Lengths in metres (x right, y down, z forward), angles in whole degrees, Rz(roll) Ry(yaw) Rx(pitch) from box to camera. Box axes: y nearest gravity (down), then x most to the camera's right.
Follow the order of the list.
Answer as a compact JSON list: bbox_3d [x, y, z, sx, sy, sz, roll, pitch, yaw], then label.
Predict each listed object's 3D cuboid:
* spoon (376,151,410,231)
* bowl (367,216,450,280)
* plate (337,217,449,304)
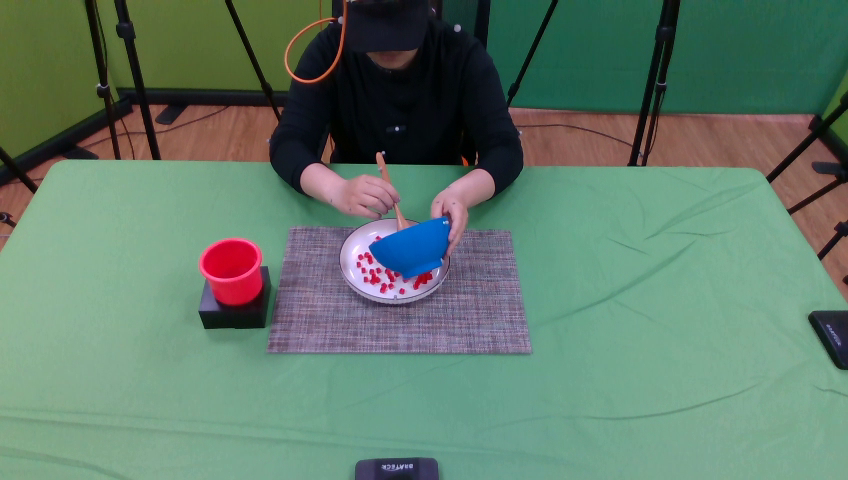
[{"bbox_3d":[-0.053,-0.067,1.093,0.041,0.194,0.021,-20,6,-5],"label":"spoon"},{"bbox_3d":[-0.015,0.020,1.055,0.151,0.151,0.076,-19,85,-20],"label":"bowl"},{"bbox_3d":[-0.058,0.042,1.136,0.208,0.039,0.206,2,46,-2],"label":"plate"}]
